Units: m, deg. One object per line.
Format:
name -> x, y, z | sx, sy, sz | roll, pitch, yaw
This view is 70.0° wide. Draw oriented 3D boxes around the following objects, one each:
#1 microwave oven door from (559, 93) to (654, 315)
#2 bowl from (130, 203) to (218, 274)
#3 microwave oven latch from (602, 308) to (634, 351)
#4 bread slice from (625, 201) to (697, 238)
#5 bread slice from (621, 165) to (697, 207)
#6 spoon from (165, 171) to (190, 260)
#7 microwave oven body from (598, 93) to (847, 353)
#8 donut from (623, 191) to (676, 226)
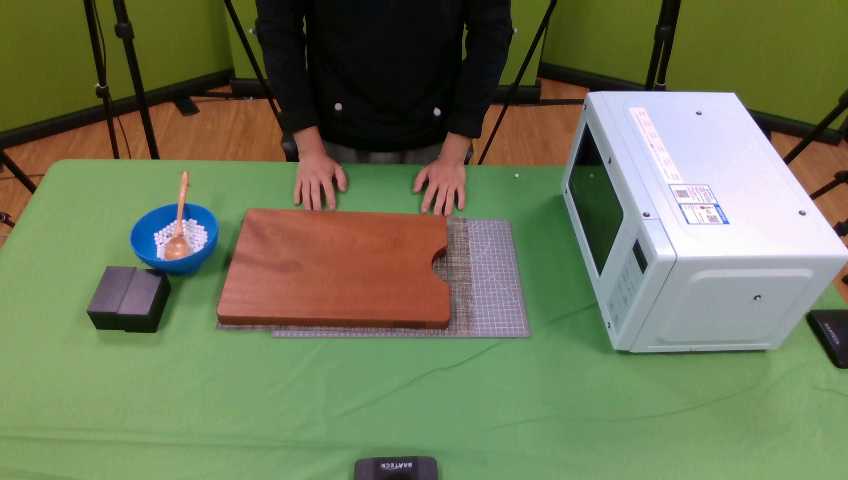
microwave oven door -> 0.327, -0.074, 1.123 | 0.039, 0.245, 0.353 | -1, 46, -5
bowl -> -0.450, 0.010, 1.117 | 0.151, 0.077, 0.150 | 3, 45, -3
microwave oven latch -> 0.332, 0.153, 1.044 | 0.030, 0.029, 0.078 | -1, 45, -4
bread slice -> 0.469, -0.043, 1.198 | 0.131, 0.019, 0.104 | 2, 39, 10
bread slice -> 0.448, -0.101, 1.146 | 0.135, 0.018, 0.106 | 2, 41, -22
spoon -> -0.452, -0.046, 1.129 | 0.041, 0.022, 0.193 | -1, 69, -2
microwave oven body -> 0.475, -0.041, 1.110 | 0.326, 0.261, 0.438 | -1, 45, -4
donut -> 0.436, -0.061, 1.173 | 0.099, 0.048, 0.098 | -7, 28, 4
